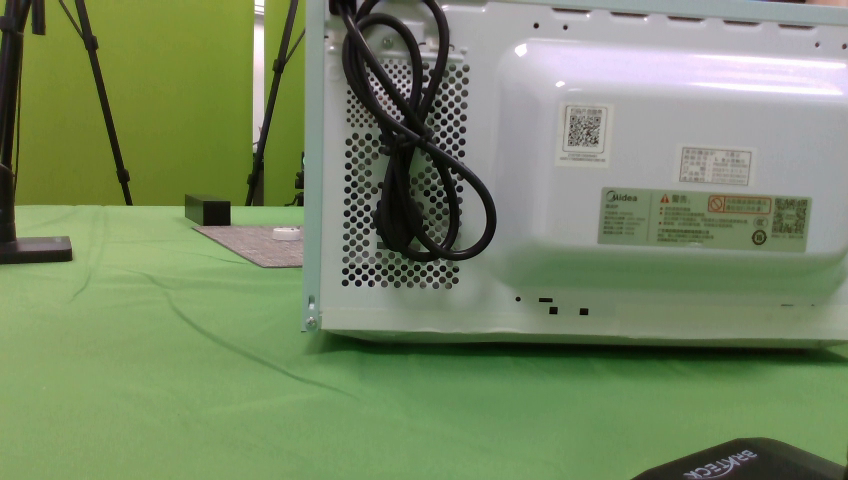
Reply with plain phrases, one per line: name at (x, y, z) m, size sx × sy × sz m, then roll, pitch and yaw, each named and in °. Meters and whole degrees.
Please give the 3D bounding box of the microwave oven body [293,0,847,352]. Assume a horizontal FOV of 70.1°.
microwave oven body at (0.122, -0.055, 0.550) m, size 0.442 × 0.260 × 0.325 m, roll 3°, pitch 7°, yaw -5°

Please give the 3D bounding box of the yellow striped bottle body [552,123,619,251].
yellow striped bottle body at (0.156, -0.051, 0.585) m, size 0.063 × 0.120 × 0.063 m, roll -1°, pitch 4°, yaw 0°

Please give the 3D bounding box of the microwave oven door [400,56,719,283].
microwave oven door at (0.155, -0.077, 0.698) m, size 0.356 × 0.243 × 0.039 m, roll 2°, pitch 8°, yaw -5°

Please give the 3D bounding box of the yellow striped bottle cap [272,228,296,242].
yellow striped bottle cap at (-0.232, -0.008, 1.011) m, size 0.044 × 0.018 × 0.044 m, roll 4°, pitch 8°, yaw 0°

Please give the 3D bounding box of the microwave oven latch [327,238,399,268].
microwave oven latch at (-0.069, 0.015, 0.694) m, size 0.079 × 0.029 × 0.030 m, roll 3°, pitch 7°, yaw -3°
